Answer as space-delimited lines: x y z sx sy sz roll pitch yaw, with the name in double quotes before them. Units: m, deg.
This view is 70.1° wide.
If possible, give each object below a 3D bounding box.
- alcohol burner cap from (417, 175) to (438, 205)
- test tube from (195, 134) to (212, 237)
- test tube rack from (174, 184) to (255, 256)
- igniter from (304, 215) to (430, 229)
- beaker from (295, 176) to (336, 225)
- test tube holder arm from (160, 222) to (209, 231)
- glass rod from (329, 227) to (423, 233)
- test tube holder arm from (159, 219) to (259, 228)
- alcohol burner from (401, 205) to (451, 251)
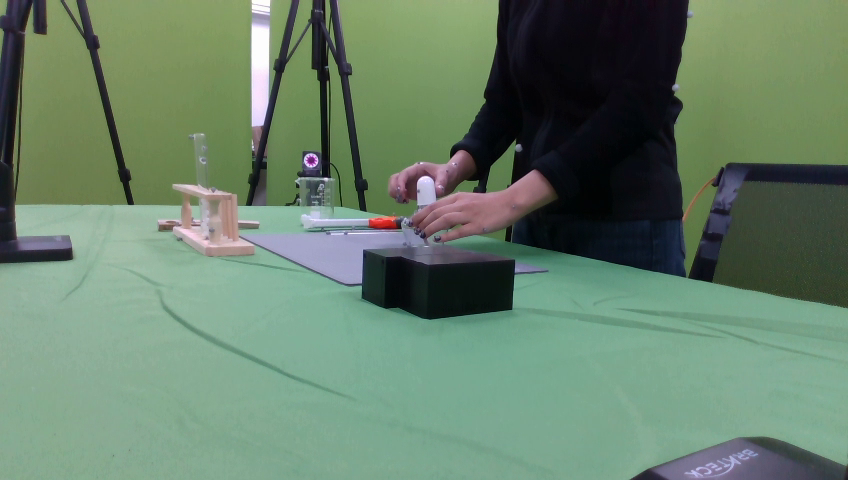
"alcohol burner cap" 0.003 -0.078 0.943 0.034 0.048 0.034 -4 3 1
"test tube" -0.320 -0.079 0.880 0.017 0.150 0.017 -3 3 1
"test tube rack" -0.327 -0.036 0.928 0.067 0.085 0.241 -2 9 -32
"igniter" -0.109 -0.037 1.228 0.278 0.025 0.057 -3 -1 -35
"beaker" -0.224 -0.080 1.247 0.084 0.100 0.073 -1 8 -18
"test tube holder arm" -0.423 -0.024 1.076 0.088 0.015 0.010 -3 45 -39
"glass rod" -0.087 -0.019 1.148 0.201 0.008 0.008 -3 8 -32
"test tube holder arm" -0.390 -0.030 1.107 0.179 0.015 0.013 -4 45 -39
"alcohol burner" 0.003 -0.042 0.947 0.078 0.119 0.078 1 9 0
